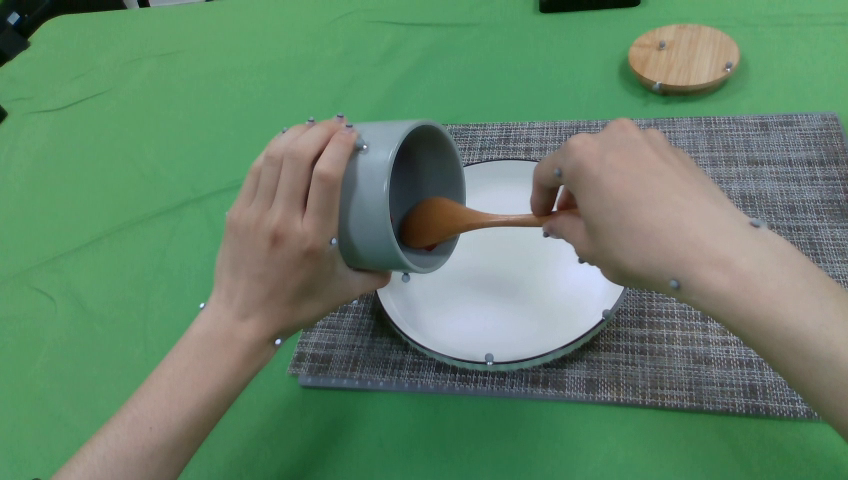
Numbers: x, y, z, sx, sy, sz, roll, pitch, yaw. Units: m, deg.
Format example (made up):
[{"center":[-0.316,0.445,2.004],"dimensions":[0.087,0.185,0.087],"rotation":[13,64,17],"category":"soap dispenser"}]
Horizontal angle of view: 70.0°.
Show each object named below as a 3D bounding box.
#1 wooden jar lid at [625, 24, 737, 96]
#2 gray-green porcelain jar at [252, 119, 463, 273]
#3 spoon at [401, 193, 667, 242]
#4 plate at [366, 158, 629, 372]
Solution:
[{"center":[0.266,-0.187,0.632],"dimensions":[0.108,0.021,0.107],"rotation":[-6,51,8],"category":"wooden jar lid"},{"center":[-0.050,-0.033,0.440],"dimensions":[0.126,0.107,0.105],"rotation":[4,52,30],"category":"gray-green porcelain jar"},{"center":[0.062,-0.016,0.406],"dimensions":[0.192,0.022,0.041],"rotation":[1,56,31],"category":"spoon"},{"center":[0.058,0.018,0.496],"dimensions":[0.207,0.039,0.205],"rotation":[-6,50,8],"category":"plate"}]
